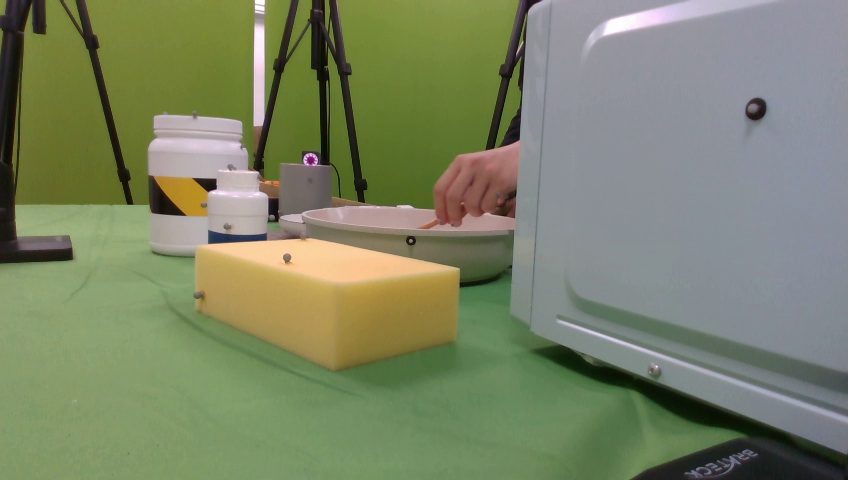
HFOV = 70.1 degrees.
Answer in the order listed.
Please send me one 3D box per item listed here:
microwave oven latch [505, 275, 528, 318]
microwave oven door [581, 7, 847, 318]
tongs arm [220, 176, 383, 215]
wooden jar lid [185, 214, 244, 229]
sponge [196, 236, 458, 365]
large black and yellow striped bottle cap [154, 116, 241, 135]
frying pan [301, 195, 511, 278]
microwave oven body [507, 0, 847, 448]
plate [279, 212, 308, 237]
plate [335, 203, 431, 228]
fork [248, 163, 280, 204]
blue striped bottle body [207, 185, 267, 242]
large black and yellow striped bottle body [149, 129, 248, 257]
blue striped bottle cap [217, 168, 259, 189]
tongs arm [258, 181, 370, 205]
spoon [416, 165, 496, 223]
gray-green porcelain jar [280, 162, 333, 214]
[{"bbox_3d":[0.100,0.041,0.472,0.079,0.029,0.030,-2,8,-30],"label":"microwave oven latch"},{"bbox_3d":[0.295,-0.067,0.569,0.358,0.243,0.039,-3,8,-31],"label":"microwave oven door"},{"bbox_3d":[-0.285,-0.104,1.445,0.389,0.027,0.028,9,-4,-23],"label":"tongs arm"},{"bbox_3d":[-0.404,-0.037,1.169,0.108,0.020,0.108,3,7,0],"label":"wooden jar lid"},{"bbox_3d":[-0.087,0.039,0.500,0.206,0.061,0.119,8,9,44],"label":"sponge"},{"bbox_3d":[-0.314,-0.158,0.843,0.115,0.019,0.115,3,7,0],"label":"large black and yellow striped bottle cap"},{"bbox_3d":[0.050,-0.028,0.864,0.305,0.102,0.490,8,18,35],"label":"frying pan"},{"bbox_3d":[0.331,-0.042,0.425,0.444,0.260,0.324,-2,8,-31],"label":"microwave oven body"},{"bbox_3d":[-0.139,-0.022,1.021,0.209,0.038,0.209,2,8,0],"label":"plate"},{"bbox_3d":[-0.089,-0.053,1.309,0.208,0.039,0.207,2,8,0],"label":"plate"},{"bbox_3d":[-0.396,-0.143,1.486,0.028,0.018,0.208,20,-26,45],"label":"fork"},{"bbox_3d":[-0.204,-0.016,0.663,0.063,0.120,0.063,2,7,0],"label":"blue striped bottle body"},{"bbox_3d":[-0.315,-0.075,0.854,0.131,0.184,0.130,2,7,0],"label":"large black and yellow striped bottle body"},{"bbox_3d":[-0.202,-0.067,0.657,0.044,0.020,0.044,0,11,0],"label":"blue striped bottle cap"},{"bbox_3d":[-0.241,-0.095,1.373,0.387,0.026,0.050,9,0,-37],"label":"tongs arm"},{"bbox_3d":[0.011,-0.033,0.742,0.193,0.021,0.042,-41,-25,18],"label":"spoon"},{"bbox_3d":[-0.238,-0.092,1.221,0.106,0.126,0.106,2,7,0],"label":"gray-green porcelain jar"}]
